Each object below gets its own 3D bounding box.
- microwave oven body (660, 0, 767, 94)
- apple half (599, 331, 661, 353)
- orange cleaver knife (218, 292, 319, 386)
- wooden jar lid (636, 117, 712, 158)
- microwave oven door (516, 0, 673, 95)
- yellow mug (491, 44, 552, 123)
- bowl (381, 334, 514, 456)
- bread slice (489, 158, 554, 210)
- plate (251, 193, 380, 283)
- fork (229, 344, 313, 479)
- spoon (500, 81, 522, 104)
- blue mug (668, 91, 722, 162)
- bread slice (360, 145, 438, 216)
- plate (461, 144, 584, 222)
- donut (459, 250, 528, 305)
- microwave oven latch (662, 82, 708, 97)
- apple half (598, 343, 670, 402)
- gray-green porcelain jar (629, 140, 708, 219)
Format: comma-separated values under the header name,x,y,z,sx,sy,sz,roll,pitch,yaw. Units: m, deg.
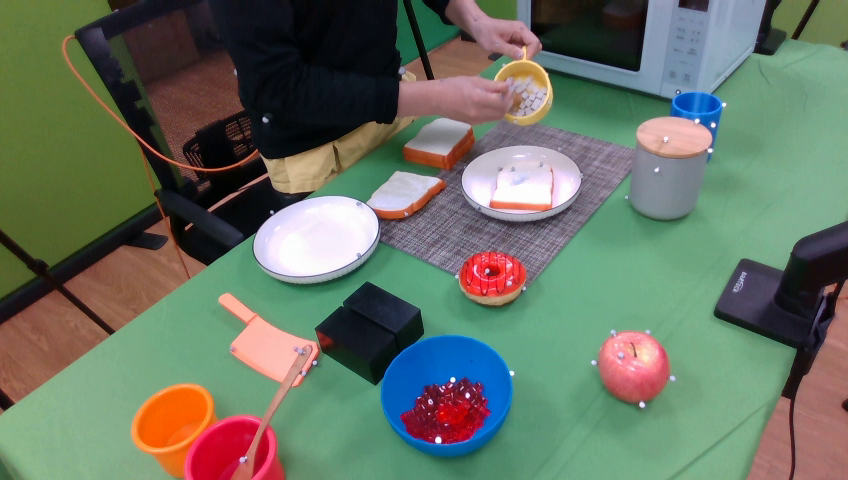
name,x,y,z,sx,sy,sz,roll,pitch,yaw
microwave oven body,0.473,-0.516,1.313,0.438,0.261,0.327,26,51,34
apple half,0.249,0.134,0.738,0.081,0.081,0.032,-1,46,7
orange cleaver knife,-0.235,0.136,0.850,0.209,0.012,0.077,25,56,30
wooden jar lid,0.377,-0.151,0.917,0.108,0.021,0.108,-2,41,3
microwave oven door,0.344,-0.458,1.257,0.353,0.245,0.039,26,52,33
yellow mug,0.172,-0.274,1.054,0.099,0.130,0.064,3,3,14
bowl,0.029,0.192,0.701,0.151,0.077,0.150,-4,40,4
bread slice,0.173,-0.100,1.047,0.104,0.019,0.131,4,42,12
plate,-0.173,-0.001,0.984,0.209,0.038,0.208,-4,41,4
fork,-0.173,0.205,0.662,0.028,0.019,0.207,29,94,36
spoon,0.136,-0.243,0.985,0.041,0.021,0.194,-18,-1,14
blue mug,0.474,-0.207,1.078,0.082,0.106,0.116,4,42,13
bread slice,-0.053,-0.103,1.046,0.106,0.018,0.134,18,67,23
plate,0.168,-0.095,1.040,0.207,0.039,0.206,-4,40,4
donut,0.100,0.053,0.872,0.099,0.048,0.098,-4,40,4
microwave oven latch,0.518,-0.298,1.202,0.078,0.029,0.030,28,53,35
apple half,0.247,0.161,0.710,0.081,0.075,0.053,2,47,5
gray-green porcelain jar,0.383,-0.105,0.958,0.106,0.127,0.105,-4,41,4
